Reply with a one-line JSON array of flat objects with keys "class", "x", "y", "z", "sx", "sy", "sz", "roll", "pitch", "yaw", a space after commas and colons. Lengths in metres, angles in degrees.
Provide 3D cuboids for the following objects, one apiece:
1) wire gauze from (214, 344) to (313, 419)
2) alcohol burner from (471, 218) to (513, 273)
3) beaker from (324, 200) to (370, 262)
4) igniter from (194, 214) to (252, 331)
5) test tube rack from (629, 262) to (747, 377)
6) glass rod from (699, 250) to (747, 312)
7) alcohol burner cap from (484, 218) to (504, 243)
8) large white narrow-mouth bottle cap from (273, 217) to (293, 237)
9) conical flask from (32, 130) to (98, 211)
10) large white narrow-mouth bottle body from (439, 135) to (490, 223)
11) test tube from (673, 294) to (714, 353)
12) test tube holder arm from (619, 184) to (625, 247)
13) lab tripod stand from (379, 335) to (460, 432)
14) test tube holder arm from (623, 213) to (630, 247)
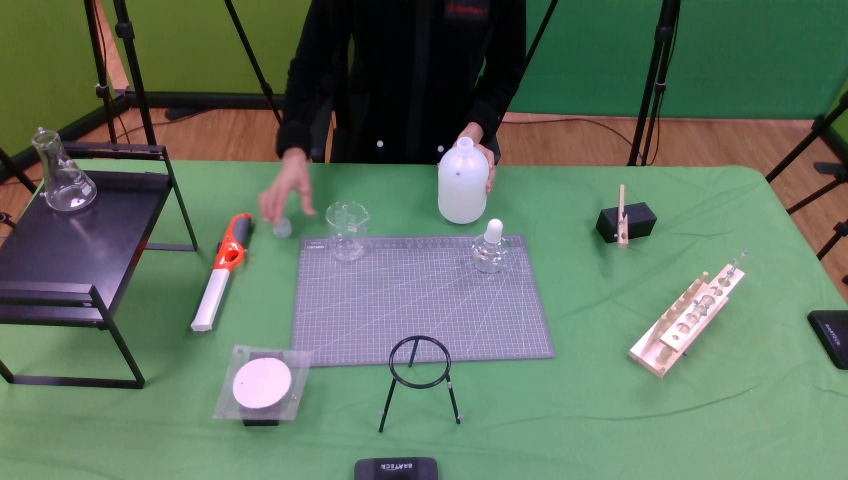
[{"class": "wire gauze", "x": -0.241, "y": 0.213, "z": 0.915, "sx": 0.121, "sy": 0.011, "sz": 0.124, "roll": 5, "pitch": 46, "yaw": 1}, {"class": "alcohol burner", "x": 0.128, "y": 0.005, "z": 1.132, "sx": 0.078, "sy": 0.120, "sz": 0.077, "roll": 0, "pitch": 47, "yaw": 0}, {"class": "beaker", "x": -0.143, "y": -0.015, "z": 1.142, "sx": 0.084, "sy": 0.101, "sz": 0.073, "roll": 1, "pitch": 46, "yaw": -4}, {"class": "igniter", "x": -0.367, "y": 0.050, "z": 1.119, "sx": 0.057, "sy": 0.025, "sz": 0.275, "roll": -4, "pitch": 45, "yaw": 7}, {"class": "test tube rack", "x": 0.464, "y": 0.126, "z": 1.060, "sx": 0.242, "sy": 0.085, "sz": 0.066, "roll": -34, "pitch": 56, "yaw": -31}, {"class": "glass rod", "x": 0.500, "y": 0.075, "z": 1.021, "sx": 0.008, "sy": 0.201, "sz": 0.008, "roll": 0, "pitch": 55, "yaw": 1}, {"class": "alcohol burner cap", "x": 0.130, "y": -0.021, "z": 1.106, "sx": 0.034, "sy": 0.048, "sz": 0.033, "roll": 3, "pitch": 51, "yaw": -3}, {"class": "large white narrow-mouth bottle cap", "x": -0.281, "y": -0.026, "z": 1.203, "sx": 0.038, "sy": 0.024, "sz": 0.037, "roll": 2, "pitch": 46, "yaw": -2}, {"class": "conical flask", "x": -0.565, "y": -0.110, "z": 0.944, "sx": 0.075, "sy": 0.122, "sz": 0.075, "roll": 2, "pitch": 46, "yaw": -2}, {"class": "large white narrow-mouth bottle body", "x": 0.079, "y": -0.126, "z": 1.189, "sx": 0.102, "sy": 0.195, "sz": 0.101, "roll": 0, "pitch": 54, "yaw": 1}, {"class": "test tube", "x": 0.428, "y": 0.137, "z": 0.978, "sx": 0.017, "sy": 0.151, "sz": 0.017, "roll": 4, "pitch": 47, "yaw": -4}, {"class": "test tube holder arm", "x": 0.396, "y": -0.053, "z": 1.210, "sx": 0.013, "sy": 0.015, "sz": 0.177, "roll": 14, "pitch": 46, "yaw": 2}, {"class": "lab tripod stand", "x": -0.011, "y": 0.214, "z": 0.911, "sx": 0.148, "sy": 0.132, "sz": 0.147, "roll": 1, "pitch": 45, "yaw": 0}, {"class": "test tube holder arm", "x": 0.393, "y": -0.020, "z": 1.179, "sx": 0.010, "sy": 0.015, "sz": 0.087, "roll": 13, "pitch": 46, "yaw": 1}]
